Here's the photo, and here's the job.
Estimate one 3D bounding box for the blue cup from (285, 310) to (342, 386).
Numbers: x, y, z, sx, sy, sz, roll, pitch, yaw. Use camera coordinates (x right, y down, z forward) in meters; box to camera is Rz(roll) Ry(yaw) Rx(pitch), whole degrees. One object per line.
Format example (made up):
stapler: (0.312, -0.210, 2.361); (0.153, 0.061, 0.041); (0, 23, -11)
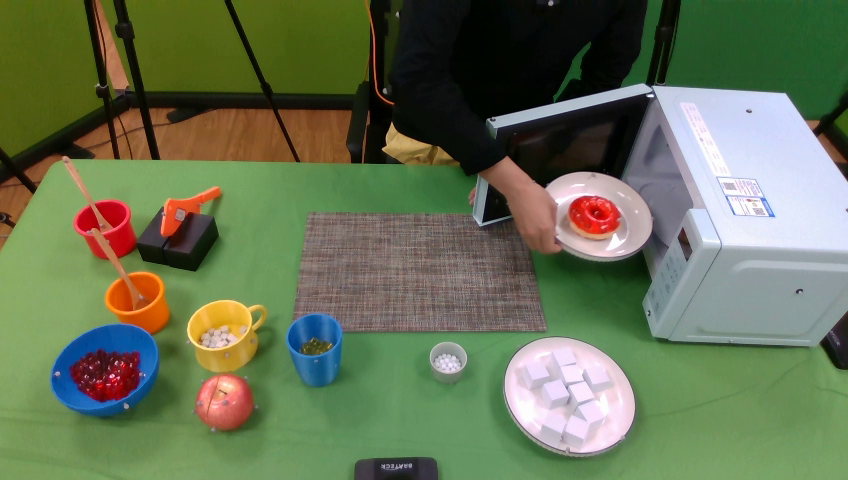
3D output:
blue cup: (-0.170, 0.179, 0.958); (0.093, 0.101, 0.092); (2, 44, -1)

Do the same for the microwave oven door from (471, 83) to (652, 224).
microwave oven door: (0.272, -0.171, 1.205); (0.356, 0.245, 0.039); (-16, 50, -18)

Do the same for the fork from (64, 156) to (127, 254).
fork: (-0.614, -0.064, 1.130); (0.028, 0.018, 0.207); (-29, 97, -16)

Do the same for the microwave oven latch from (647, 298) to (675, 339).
microwave oven latch: (0.412, 0.134, 1.060); (0.030, 0.029, 0.078); (5, 45, 2)

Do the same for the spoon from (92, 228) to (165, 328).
spoon: (-0.496, 0.063, 1.014); (0.041, 0.194, 0.021); (-34, 12, -31)

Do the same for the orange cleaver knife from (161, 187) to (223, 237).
orange cleaver knife: (-0.448, -0.058, 1.181); (0.012, 0.077, 0.211); (13, 17, 6)

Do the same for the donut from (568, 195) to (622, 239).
donut: (0.311, -0.043, 1.107); (0.099, 0.048, 0.098); (3, 50, -3)

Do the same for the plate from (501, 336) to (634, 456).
plate: (0.225, 0.249, 0.963); (0.208, 0.039, 0.206); (2, 46, -2)

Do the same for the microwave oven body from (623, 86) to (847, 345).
microwave oven body: (0.567, -0.053, 1.118); (0.326, 0.261, 0.439); (2, 45, -1)

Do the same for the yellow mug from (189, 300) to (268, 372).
yellow mug: (-0.315, 0.149, 1.001); (0.131, 0.064, 0.099); (-33, 55, -31)

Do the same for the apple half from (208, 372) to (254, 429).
apple half: (-0.282, 0.244, 0.908); (0.053, 0.075, 0.080); (7, 43, -1)

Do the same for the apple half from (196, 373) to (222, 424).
apple half: (-0.322, 0.239, 0.907); (0.033, 0.081, 0.081); (7, 46, 0)

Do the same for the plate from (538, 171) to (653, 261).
plate: (0.313, -0.040, 1.120); (0.209, 0.038, 0.208); (2, 52, -3)

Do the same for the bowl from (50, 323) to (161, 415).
bowl: (-0.472, 0.209, 0.924); (0.151, 0.077, 0.150); (3, 45, -2)

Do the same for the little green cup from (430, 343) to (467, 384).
little green cup: (0.038, 0.203, 0.994); (0.061, 0.039, 0.061); (2, 46, -2)
